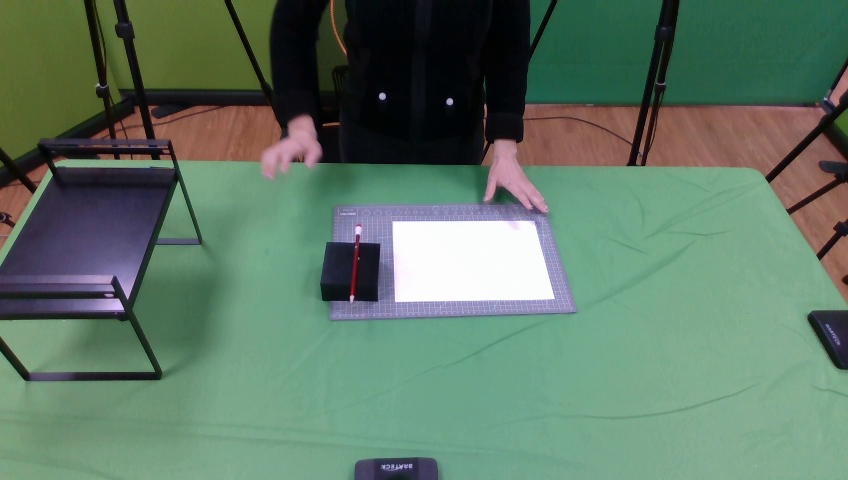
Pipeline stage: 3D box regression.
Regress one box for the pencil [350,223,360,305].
[{"bbox_3d":[-0.124,0.040,1.085,0.012,0.012,0.193,1,46,-3],"label":"pencil"}]
